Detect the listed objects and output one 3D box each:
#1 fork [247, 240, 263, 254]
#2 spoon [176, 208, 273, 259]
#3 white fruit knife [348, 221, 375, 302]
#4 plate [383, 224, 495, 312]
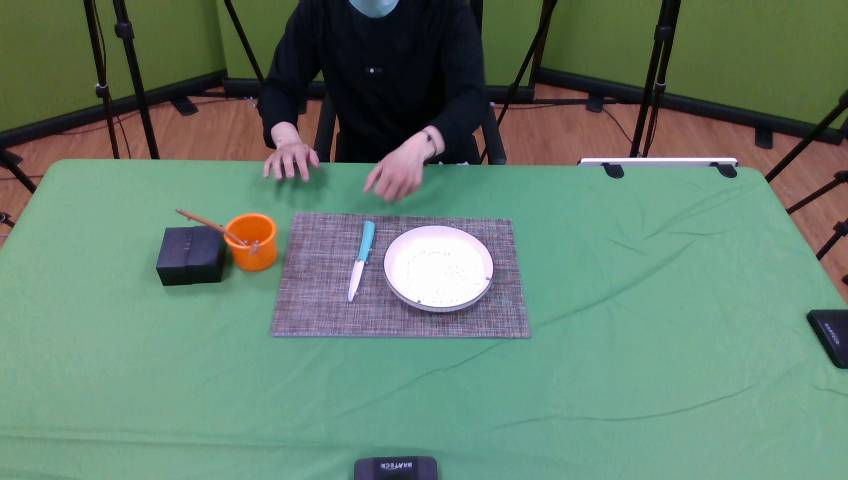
[{"bbox_3d":[-0.301,0.011,1.075,0.028,0.018,0.207,4,0,-15],"label":"fork"},{"bbox_3d":[-0.355,-0.011,1.088,0.041,0.195,0.021,21,77,54],"label":"spoon"},{"bbox_3d":[-0.119,0.037,1.153,0.027,0.016,0.206,-15,43,24],"label":"white fruit knife"},{"bbox_3d":[0.026,0.055,1.128,0.209,0.038,0.208,2,46,-2],"label":"plate"}]
